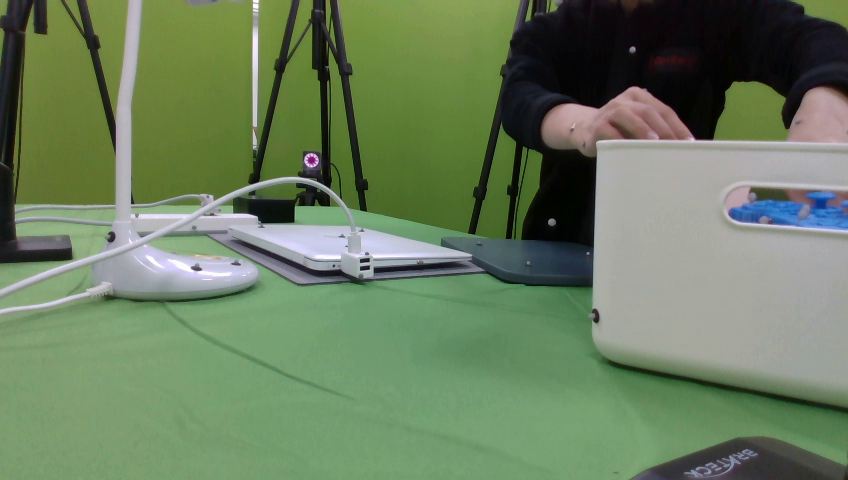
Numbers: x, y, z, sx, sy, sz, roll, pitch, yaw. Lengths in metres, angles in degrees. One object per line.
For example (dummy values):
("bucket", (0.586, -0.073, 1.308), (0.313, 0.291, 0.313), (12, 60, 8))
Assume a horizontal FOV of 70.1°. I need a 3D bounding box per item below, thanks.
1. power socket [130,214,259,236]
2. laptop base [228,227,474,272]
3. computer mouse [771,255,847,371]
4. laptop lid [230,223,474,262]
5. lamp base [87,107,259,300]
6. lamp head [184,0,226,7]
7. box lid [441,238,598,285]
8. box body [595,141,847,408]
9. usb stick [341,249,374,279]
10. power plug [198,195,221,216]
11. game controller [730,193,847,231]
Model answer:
("power socket", (-0.397, -0.028, 1.048), (0.228, 0.032, 0.072), (-3, 7, -35))
("laptop base", (-0.123, 0.011, 0.889), (0.237, 0.023, 0.352), (2, 6, -35))
("computer mouse", (0.345, 0.057, 0.519), (0.063, 0.041, 0.117), (11, 47, 4))
("laptop lid", (-0.121, 0.000, 0.888), (0.243, 0.013, 0.355), (1, 7, -33))
("lamp base", (-0.254, -0.039, 0.603), (0.160, 0.180, 0.179), (5, 10, 18))
("lamp head", (-0.229, -0.320, 0.627), (0.112, 0.112, 0.123), (6, -35, 26))
("box lid", (0.189, 0.029, 0.902), (0.264, 0.015, 0.370), (2, 7, -13))
("box body", (0.309, 0.007, 0.510), (0.253, 0.160, 0.366), (6, 8, 29))
("usb stick", (-0.078, 0.026, 0.686), (0.021, 0.027, 0.059), (-8, 8, -30))
("power plug", (-0.386, -0.055, 1.088), (0.035, 0.052, 0.072), (-2, 6, -24))
("game controller", (0.289, -0.005, 0.437), (0.097, 0.051, 0.155), (-2, 11, 7))
